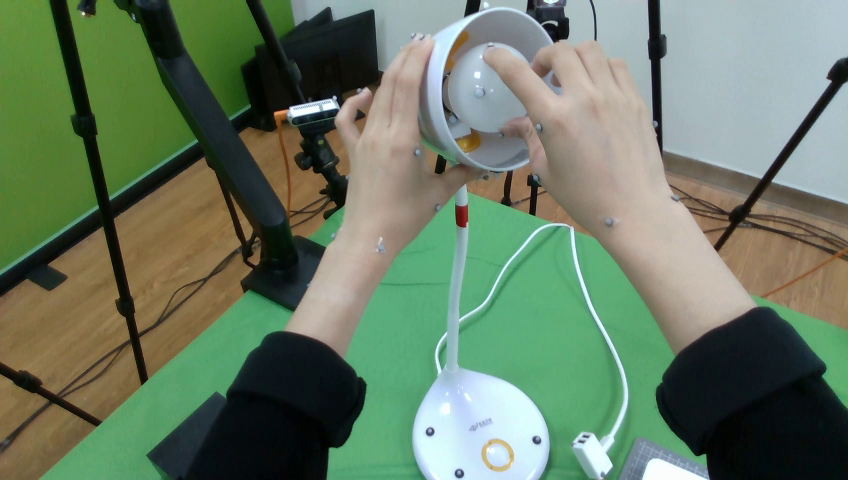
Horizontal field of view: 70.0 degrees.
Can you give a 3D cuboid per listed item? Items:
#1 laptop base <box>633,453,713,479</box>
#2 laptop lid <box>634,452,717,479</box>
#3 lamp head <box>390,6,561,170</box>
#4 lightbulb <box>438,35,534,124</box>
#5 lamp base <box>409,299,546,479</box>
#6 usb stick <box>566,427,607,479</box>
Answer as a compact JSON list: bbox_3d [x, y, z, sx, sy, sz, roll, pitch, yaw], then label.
[{"bbox_3d":[0.344,0.370,0.556,0.352,0.023,0.234,20,51,22],"label":"laptop base"},{"bbox_3d":[0.343,0.363,0.546,0.354,0.013,0.241,21,51,23],"label":"laptop lid"},{"bbox_3d":[0.028,-0.111,0.474,0.112,0.113,0.122,-28,18,-25],"label":"lamp head"},{"bbox_3d":[0.038,-0.122,0.442,0.059,0.060,0.106,-18,32,-16],"label":"lightbulb"},{"bbox_3d":[0.052,0.162,0.668,0.161,0.182,0.177,-27,46,-24],"label":"lamp base"},{"bbox_3d":[0.185,0.241,0.677,0.027,0.059,0.021,-32,8,-33],"label":"usb stick"}]
